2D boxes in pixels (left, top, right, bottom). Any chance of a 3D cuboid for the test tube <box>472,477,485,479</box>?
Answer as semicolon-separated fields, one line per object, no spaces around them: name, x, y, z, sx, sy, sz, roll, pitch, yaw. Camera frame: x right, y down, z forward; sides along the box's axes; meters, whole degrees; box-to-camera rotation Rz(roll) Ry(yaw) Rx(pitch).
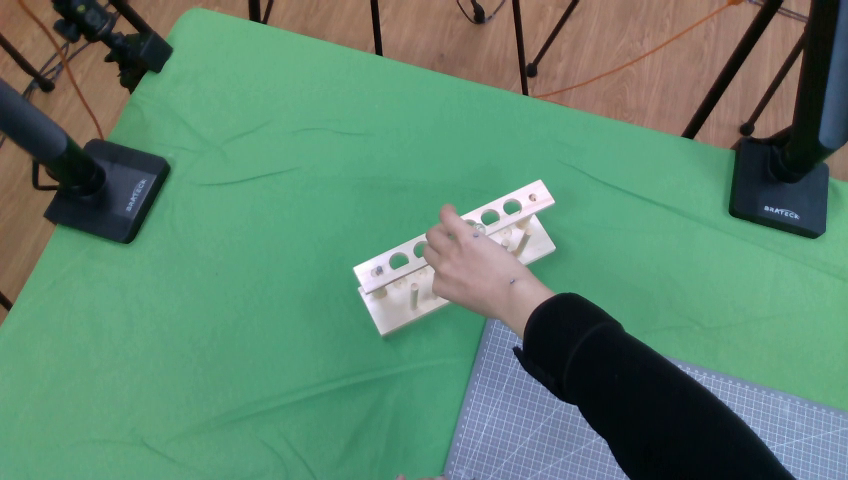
test tube;0.040;0.225;0.520;0.017;0.151;0.017;1;59;-1

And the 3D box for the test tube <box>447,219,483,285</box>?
test tube;0.043;0.016;0.653;0.017;0.151;0.017;3;64;-6

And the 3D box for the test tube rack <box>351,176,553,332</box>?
test tube rack;0.041;0.018;0.711;0.242;0.085;0.066;-25;72;-11
